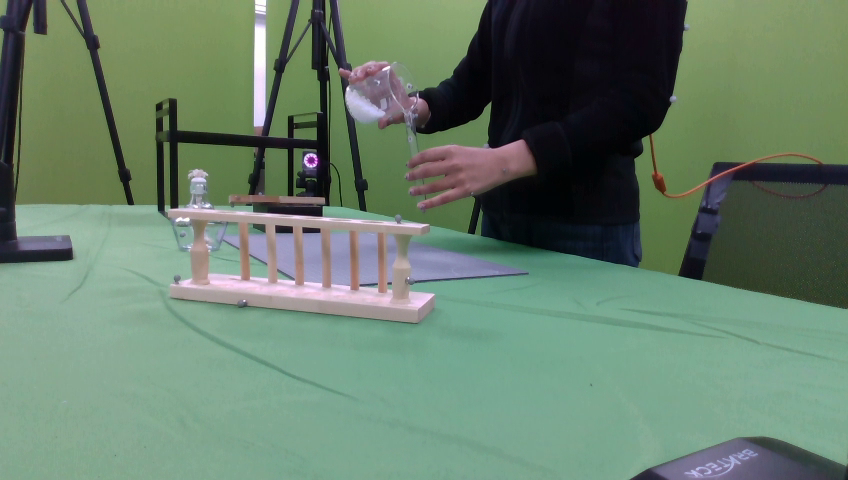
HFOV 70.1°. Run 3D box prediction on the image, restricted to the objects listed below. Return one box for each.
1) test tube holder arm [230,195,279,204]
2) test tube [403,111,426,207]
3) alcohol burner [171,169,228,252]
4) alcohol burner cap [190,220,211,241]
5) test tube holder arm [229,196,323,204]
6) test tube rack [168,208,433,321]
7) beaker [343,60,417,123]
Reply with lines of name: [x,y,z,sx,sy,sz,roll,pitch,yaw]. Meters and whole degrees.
test tube holder arm: [-0.311,-0.075,1.115,0.088,0.015,0.010,-1,1,-31]
test tube: [-0.015,-0.126,0.939,0.017,0.150,0.017,-9,0,0]
alcohol burner: [-0.325,-0.043,0.875,0.078,0.119,0.078,0,6,0]
alcohol burner cap: [-0.365,-0.023,0.988,0.034,0.048,0.034,1,7,0]
test tube holder arm: [-0.276,-0.076,1.144,0.179,0.015,0.013,-1,1,-32]
test tube rack: [-0.115,0.017,0.574,0.242,0.085,0.067,4,8,14]
beaker: [-0.071,-0.229,0.963,0.100,0.084,0.074,-11,4,37]
